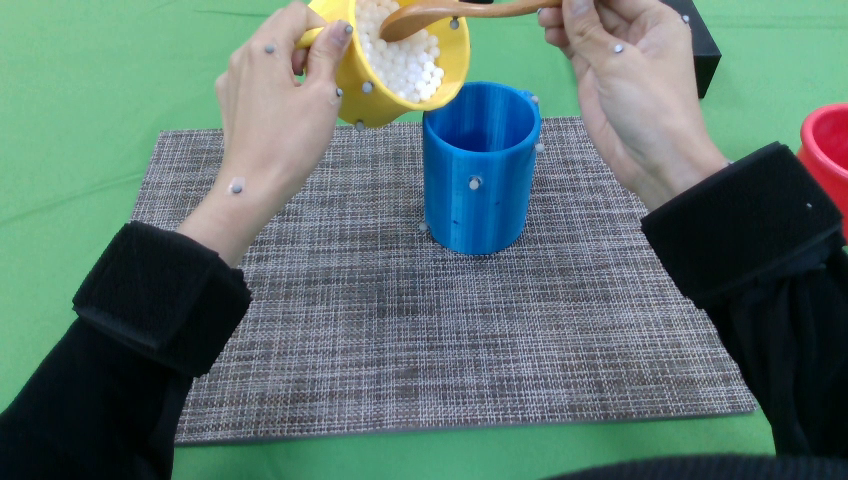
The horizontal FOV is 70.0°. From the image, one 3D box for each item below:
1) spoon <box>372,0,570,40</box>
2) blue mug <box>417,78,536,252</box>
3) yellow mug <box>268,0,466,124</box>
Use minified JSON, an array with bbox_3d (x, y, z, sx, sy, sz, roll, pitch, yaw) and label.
[{"bbox_3d":[0.044,-0.140,0.359,0.192,0.022,0.042,6,16,37],"label":"spoon"},{"bbox_3d":[0.048,-0.064,0.464,0.081,0.107,0.116,34,59,25],"label":"blue mug"},{"bbox_3d":[-0.041,-0.130,0.402,0.131,0.100,0.063,-17,9,-39],"label":"yellow mug"}]
